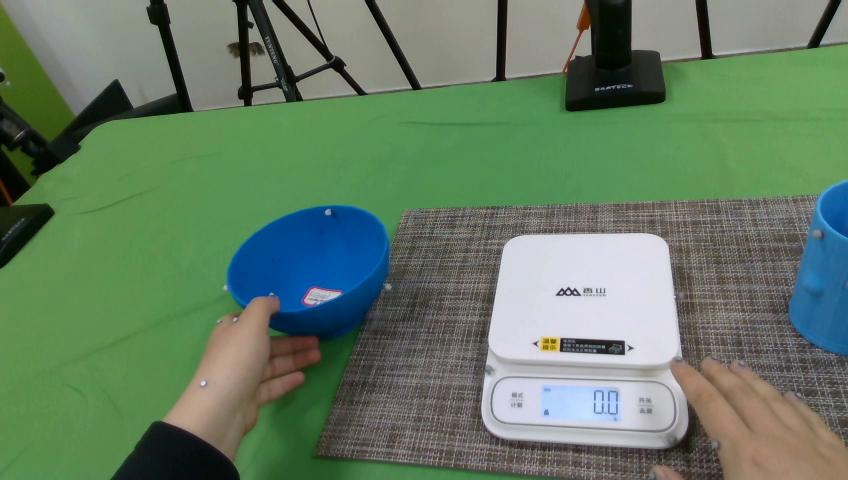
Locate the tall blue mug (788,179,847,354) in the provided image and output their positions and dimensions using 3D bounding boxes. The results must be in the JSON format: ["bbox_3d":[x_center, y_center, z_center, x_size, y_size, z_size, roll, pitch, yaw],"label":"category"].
[{"bbox_3d":[0.322,0.027,0.423,0.078,0.109,0.106,-35,44,-21],"label":"tall blue mug"}]

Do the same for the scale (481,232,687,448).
[{"bbox_3d":[0.129,0.070,0.498,0.148,0.032,0.199,-1,43,17],"label":"scale"}]

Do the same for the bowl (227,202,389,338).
[{"bbox_3d":[-0.100,0.039,0.575,0.151,0.077,0.150,-7,39,6],"label":"bowl"}]
